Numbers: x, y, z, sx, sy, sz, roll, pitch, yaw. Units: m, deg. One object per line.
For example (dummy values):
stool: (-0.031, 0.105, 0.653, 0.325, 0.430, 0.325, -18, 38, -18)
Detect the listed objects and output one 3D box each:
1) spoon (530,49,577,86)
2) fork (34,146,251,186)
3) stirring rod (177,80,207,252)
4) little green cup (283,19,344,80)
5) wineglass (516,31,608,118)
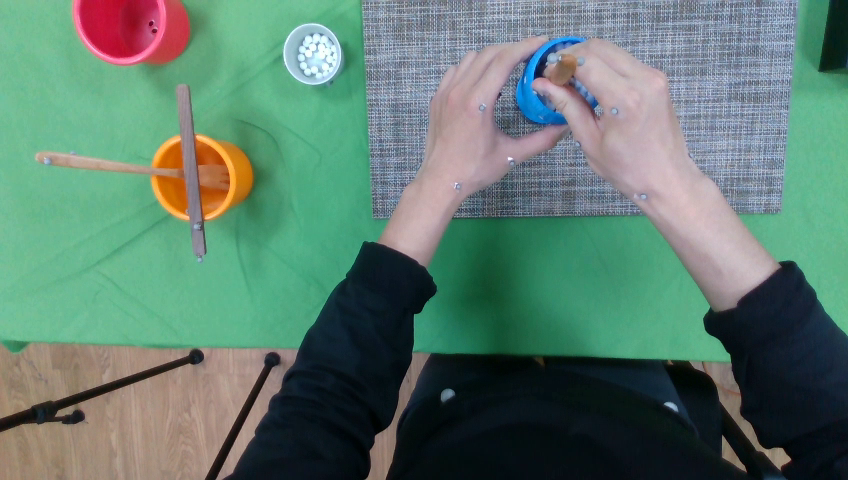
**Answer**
spoon: (0.102, -0.129, 0.460, 0.041, 0.193, 0.022, 22, 107, 3)
fork: (-0.282, -0.078, 0.630, 0.209, 0.018, 0.028, 3, 112, -40)
stirring rod: (-0.239, -0.074, 0.625, 0.014, 0.006, 0.176, -1, 101, 5)
little green cup: (-0.116, -0.202, 0.649, 0.061, 0.038, 0.062, 1, 102, 5)
wineglass: (0.123, -0.149, 0.569, 0.073, 0.172, 0.074, 1, 100, 5)
